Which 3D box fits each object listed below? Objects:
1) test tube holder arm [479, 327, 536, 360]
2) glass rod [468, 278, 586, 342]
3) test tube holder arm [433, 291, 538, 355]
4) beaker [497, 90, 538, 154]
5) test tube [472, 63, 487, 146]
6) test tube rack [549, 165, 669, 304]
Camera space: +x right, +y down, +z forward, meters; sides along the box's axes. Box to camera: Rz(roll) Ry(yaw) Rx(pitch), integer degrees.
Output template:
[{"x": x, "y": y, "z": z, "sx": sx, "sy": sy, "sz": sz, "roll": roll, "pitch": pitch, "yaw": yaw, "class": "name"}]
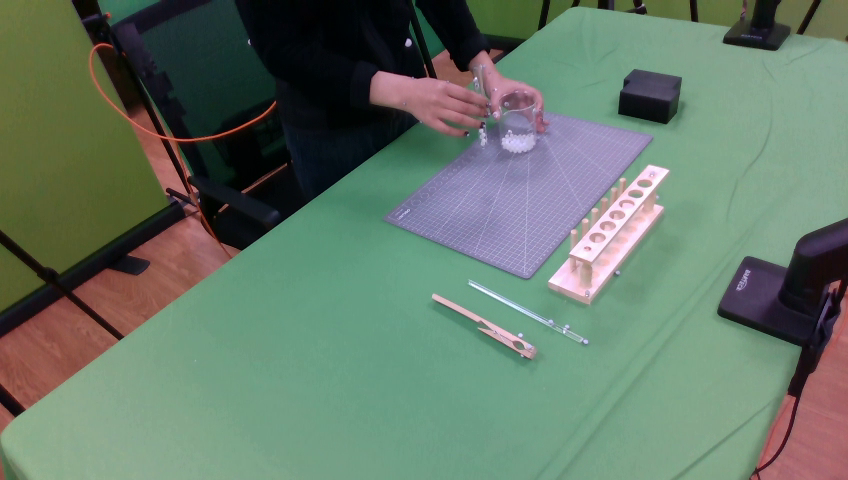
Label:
[{"x": 0.110, "y": 0.134, "z": 0.805, "sx": 0.087, "sy": 0.015, "sz": 0.010, "roll": 29, "pitch": 83, "yaw": 36, "class": "test tube holder arm"}, {"x": 0.140, "y": 0.096, "z": 0.853, "sx": 0.198, "sy": 0.008, "sz": 0.008, "roll": 27, "pitch": 53, "yaw": 35, "class": "glass rod"}, {"x": 0.081, "y": 0.112, "z": 0.832, "sx": 0.177, "sy": 0.015, "sz": 0.013, "roll": 29, "pitch": 82, "yaw": 36, "class": "test tube holder arm"}, {"x": 0.176, "y": -0.220, "z": 1.143, "sx": 0.073, "sy": 0.101, "sz": 0.084, "roll": 27, "pitch": 52, "yaw": 36, "class": "beaker"}, {"x": 0.094, "y": -0.224, "z": 1.014, "sx": 0.017, "sy": 0.151, "sz": 0.017, "roll": -5, "pitch": 40, "yaw": 5, "class": "test tube"}, {"x": 0.279, "y": -0.018, "z": 0.902, "sx": 0.066, "sy": 0.085, "sz": 0.243, "roll": 24, "pitch": 50, "yaw": 33, "class": "test tube rack"}]
